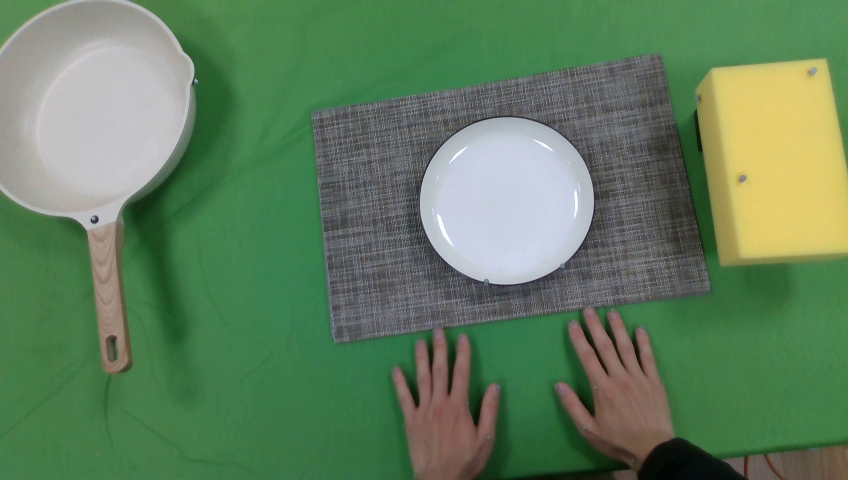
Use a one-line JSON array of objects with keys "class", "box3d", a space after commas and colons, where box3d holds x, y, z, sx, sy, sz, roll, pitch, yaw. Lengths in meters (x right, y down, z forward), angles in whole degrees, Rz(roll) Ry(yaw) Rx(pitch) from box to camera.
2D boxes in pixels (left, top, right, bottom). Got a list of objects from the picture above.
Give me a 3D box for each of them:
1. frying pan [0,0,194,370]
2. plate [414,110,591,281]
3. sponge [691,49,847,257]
[{"class": "frying pan", "box3d": [-0.406, -0.074, 0.757, 0.307, 0.103, 0.484, -16, 71, 5]}, {"class": "plate", "box3d": [0.093, -0.051, 0.728, 0.207, 0.039, 0.207, -1, 81, 6]}, {"class": "sponge", "box3d": [0.367, -0.089, 0.645, 0.118, 0.061, 0.206, -5, 80, 5]}]
